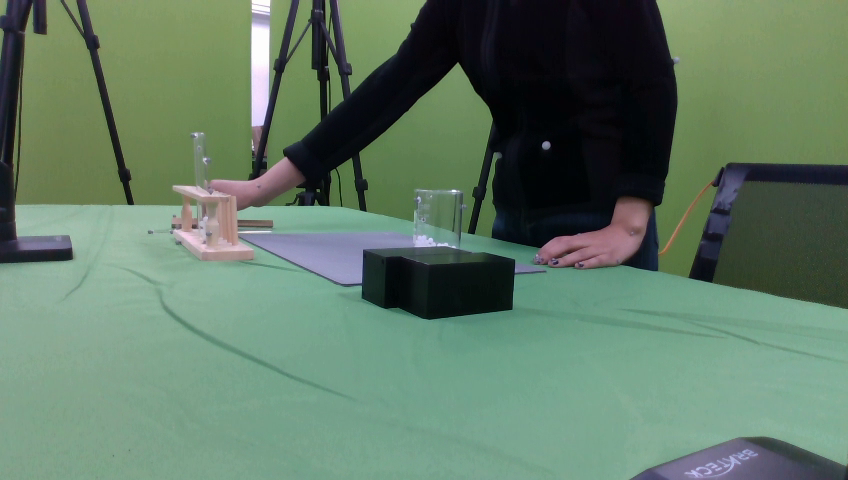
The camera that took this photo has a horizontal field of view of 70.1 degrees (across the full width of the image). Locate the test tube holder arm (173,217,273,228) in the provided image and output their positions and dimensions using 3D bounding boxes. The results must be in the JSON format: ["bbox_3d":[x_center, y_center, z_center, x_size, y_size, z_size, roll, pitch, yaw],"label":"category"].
[{"bbox_3d":[-0.372,-0.032,1.129,0.179,0.015,0.013,0,-26,-26],"label":"test tube holder arm"}]

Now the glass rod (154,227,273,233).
[{"bbox_3d":[-0.367,-0.017,1.065,0.201,0.008,0.008,-2,8,-28],"label":"glass rod"}]

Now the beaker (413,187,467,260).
[{"bbox_3d":[0.019,-0.026,0.878,0.074,0.100,0.083,-1,7,-27],"label":"beaker"}]

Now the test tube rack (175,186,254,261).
[{"bbox_3d":[-0.314,-0.031,0.889,0.067,0.085,0.241,-2,8,-30],"label":"test tube rack"}]

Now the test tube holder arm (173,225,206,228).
[{"bbox_3d":[-0.415,-0.029,1.113,0.088,0.015,0.010,0,-25,-25],"label":"test tube holder arm"}]

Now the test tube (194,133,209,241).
[{"bbox_3d":[-0.307,-0.074,0.842,0.017,0.150,0.017,-3,2,0],"label":"test tube"}]
